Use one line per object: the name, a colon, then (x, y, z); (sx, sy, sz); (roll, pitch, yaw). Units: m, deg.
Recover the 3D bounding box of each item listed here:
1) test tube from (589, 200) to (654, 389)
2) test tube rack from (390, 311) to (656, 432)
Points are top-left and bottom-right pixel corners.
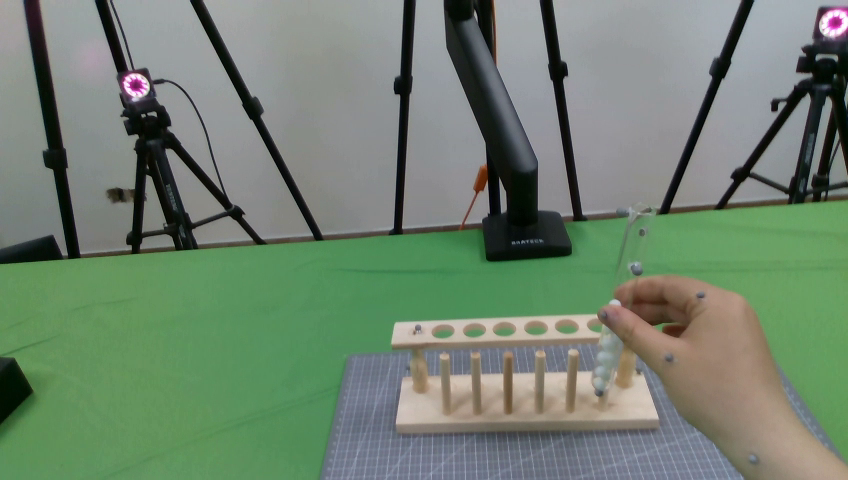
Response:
test tube: (0.130, 0.043, 0.405); (0.017, 0.151, 0.017); (1, 31, 0)
test tube rack: (0.092, 0.126, 0.577); (0.242, 0.086, 0.066); (-3, 30, 6)
